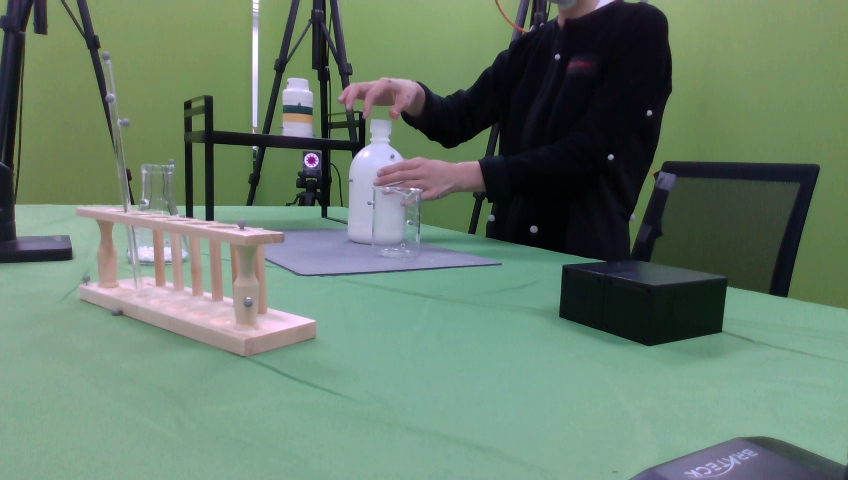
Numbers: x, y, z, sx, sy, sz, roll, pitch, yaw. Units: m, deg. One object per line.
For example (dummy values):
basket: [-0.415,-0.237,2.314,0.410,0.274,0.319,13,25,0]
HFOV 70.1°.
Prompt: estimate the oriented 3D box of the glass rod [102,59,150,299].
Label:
glass rod: [-0.243,-0.045,0.496,0.008,0.199,0.008,-4,12,1]

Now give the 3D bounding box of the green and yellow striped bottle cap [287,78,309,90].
green and yellow striped bottle cap: [-0.265,-0.326,1.268,0.045,0.020,0.045,4,6,0]

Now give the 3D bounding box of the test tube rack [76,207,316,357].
test tube rack: [-0.196,0.023,0.500,0.241,0.085,0.067,8,9,36]

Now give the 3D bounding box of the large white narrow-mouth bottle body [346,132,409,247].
large white narrow-mouth bottle body: [-0.076,-0.091,1.010,0.102,0.194,0.102,4,8,0]

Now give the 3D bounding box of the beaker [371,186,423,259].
beaker: [-0.038,-0.025,0.868,0.074,0.100,0.083,-1,8,-22]

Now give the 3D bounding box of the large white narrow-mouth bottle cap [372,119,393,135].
large white narrow-mouth bottle cap: [-0.068,-0.186,0.996,0.038,0.024,0.037,4,8,0]

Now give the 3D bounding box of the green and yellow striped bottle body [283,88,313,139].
green and yellow striped bottle body: [-0.266,-0.275,1.275,0.063,0.119,0.063,3,7,0]

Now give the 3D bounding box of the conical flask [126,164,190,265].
conical flask: [-0.332,-0.033,0.756,0.075,0.122,0.075,2,7,0]
